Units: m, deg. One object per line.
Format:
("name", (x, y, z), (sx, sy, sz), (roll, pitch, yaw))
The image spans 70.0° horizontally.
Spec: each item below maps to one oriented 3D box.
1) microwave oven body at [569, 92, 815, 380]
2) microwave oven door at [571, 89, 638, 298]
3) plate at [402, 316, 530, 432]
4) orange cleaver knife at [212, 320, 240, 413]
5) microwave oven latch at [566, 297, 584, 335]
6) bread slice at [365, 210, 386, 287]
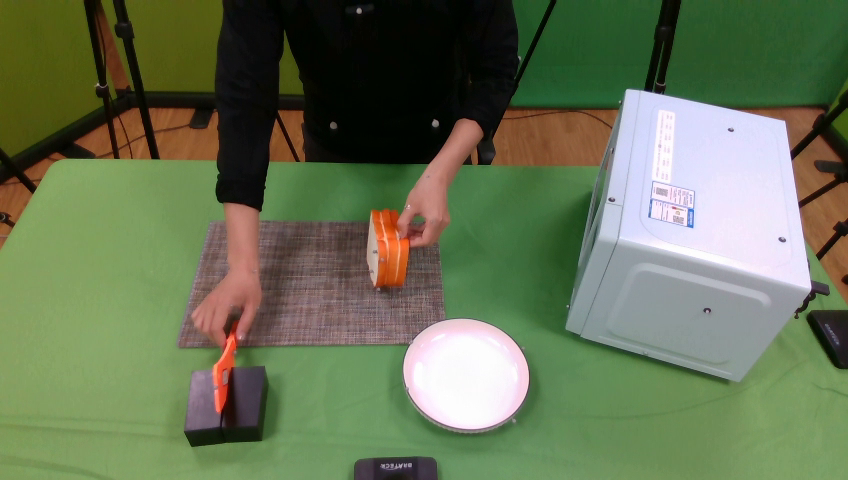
("microwave oven body", (0.468, -0.021, 1.082), (0.325, 0.261, 0.440), (15, 46, 11))
("microwave oven door", (0.342, -0.091, 1.132), (0.039, 0.245, 0.354), (15, 47, 10))
("plate", (0.066, 0.217, 0.982), (0.208, 0.039, 0.206), (2, 46, -2))
("orange cleaver knife", (-0.305, 0.190, 0.944), (0.012, 0.077, 0.210), (-5, 17, -7))
("microwave oven latch", (0.268, 0.126, 1.059), (0.030, 0.029, 0.079), (16, 46, 12))
("bread slice", (-0.087, 0.018, 1.084), (0.018, 0.107, 0.133), (-2, 26, -13))
